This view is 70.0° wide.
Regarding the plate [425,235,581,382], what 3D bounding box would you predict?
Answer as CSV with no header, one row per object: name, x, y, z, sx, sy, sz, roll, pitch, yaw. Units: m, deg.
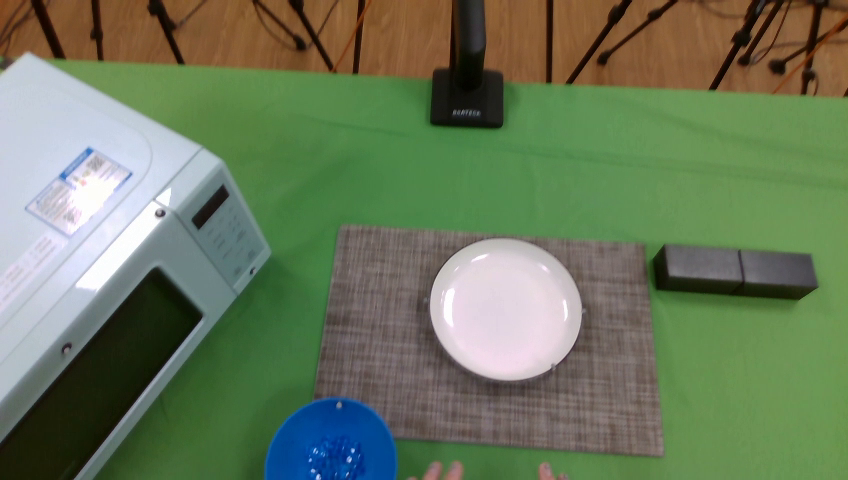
plate,0.105,0.093,0.824,0.208,0.039,0.206,0,64,-1

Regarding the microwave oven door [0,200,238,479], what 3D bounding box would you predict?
microwave oven door,-0.361,0.147,0.664,0.039,0.245,0.354,28,67,14

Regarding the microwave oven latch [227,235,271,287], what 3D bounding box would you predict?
microwave oven latch,-0.246,0.025,0.838,0.030,0.030,0.079,30,68,13

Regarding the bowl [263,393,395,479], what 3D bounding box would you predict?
bowl,-0.108,0.265,0.721,0.151,0.077,0.150,0,64,0

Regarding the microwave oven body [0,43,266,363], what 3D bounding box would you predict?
microwave oven body,-0.464,0.049,0.716,0.324,0.262,0.440,29,68,12
